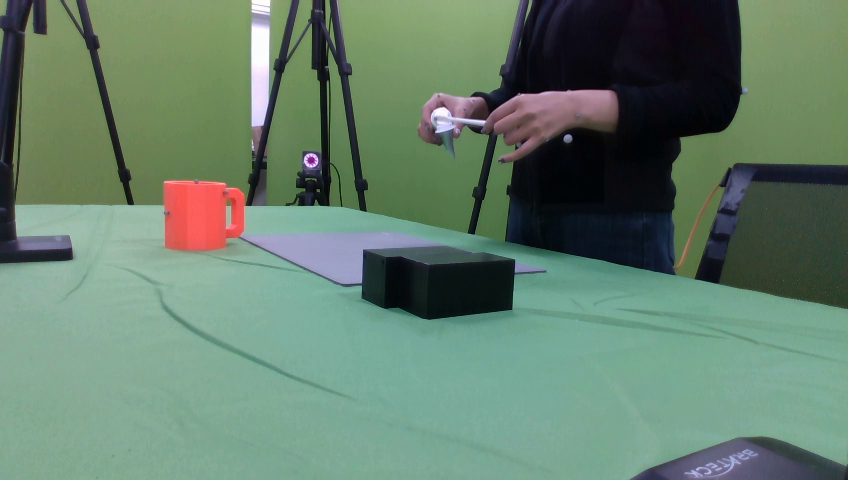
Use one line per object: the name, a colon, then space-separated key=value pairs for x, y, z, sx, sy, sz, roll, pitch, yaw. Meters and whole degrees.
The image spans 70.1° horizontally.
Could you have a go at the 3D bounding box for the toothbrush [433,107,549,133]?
toothbrush: x=0.103 y=-0.184 z=0.935 sx=0.181 sy=0.016 sz=0.014 roll=11 pitch=-28 yaw=11

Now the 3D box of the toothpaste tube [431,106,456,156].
toothpaste tube: x=0.036 y=-0.190 z=1.052 sx=0.034 sy=0.055 sz=0.165 roll=-36 pitch=-12 yaw=-1

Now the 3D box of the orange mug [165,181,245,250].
orange mug: x=-0.326 y=-0.040 z=0.911 sx=0.083 sy=0.101 sz=0.127 roll=8 pitch=14 yaw=37

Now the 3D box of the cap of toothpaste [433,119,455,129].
cap of toothpaste: x=0.031 y=-0.185 z=0.963 sx=0.037 sy=0.011 sz=0.037 roll=-13 pitch=16 yaw=4
